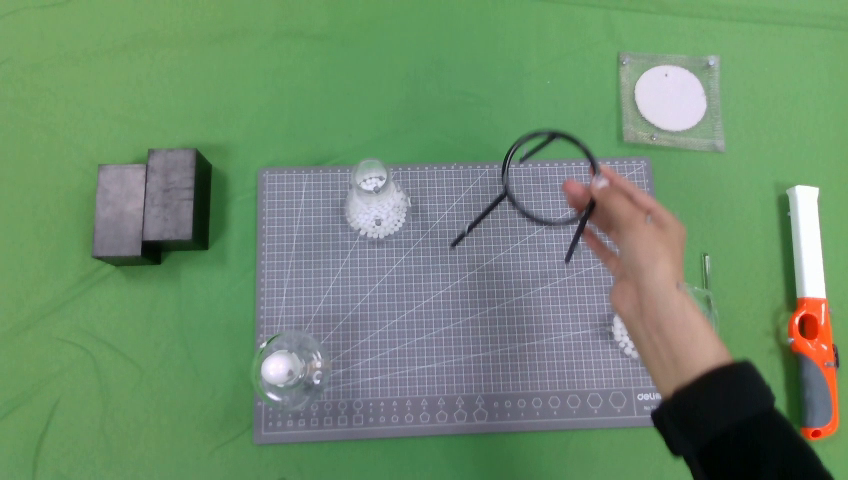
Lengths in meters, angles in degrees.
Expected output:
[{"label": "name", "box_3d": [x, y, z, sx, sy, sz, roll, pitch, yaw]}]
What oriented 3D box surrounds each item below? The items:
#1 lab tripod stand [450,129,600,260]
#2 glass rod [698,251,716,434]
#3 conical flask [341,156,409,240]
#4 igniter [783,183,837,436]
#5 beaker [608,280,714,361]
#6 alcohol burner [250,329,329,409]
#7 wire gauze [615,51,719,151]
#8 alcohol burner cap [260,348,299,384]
[{"label": "lab tripod stand", "box_3d": [0.101, -0.037, 0.590, 0.148, 0.132, 0.147, 2, 77, -6]}, {"label": "glass rod", "box_3d": [0.309, 0.109, 0.661, 0.008, 0.008, 0.199, 2, 78, -2]}, {"label": "conical flask", "box_3d": [-0.053, -0.048, 0.622, 0.075, 0.122, 0.075, 0, 77, -1]}, {"label": "igniter", "box_3d": [0.420, 0.072, 0.663, 0.057, 0.025, 0.275, 6, 78, -11]}, {"label": "beaker", "box_3d": [0.237, 0.083, 0.615, 0.084, 0.100, 0.074, -39, 81, -9]}, {"label": "alcohol burner", "box_3d": [-0.134, 0.124, 0.587, 0.078, 0.119, 0.077, 0, 77, 1]}, {"label": "wire gauze", "box_3d": [0.290, -0.168, 0.720, 0.125, 0.011, 0.121, 4, 78, -3]}, {"label": "alcohol burner cap", "box_3d": [-0.133, 0.115, 0.552, 0.034, 0.048, 0.033, 1, 81, -5]}]
